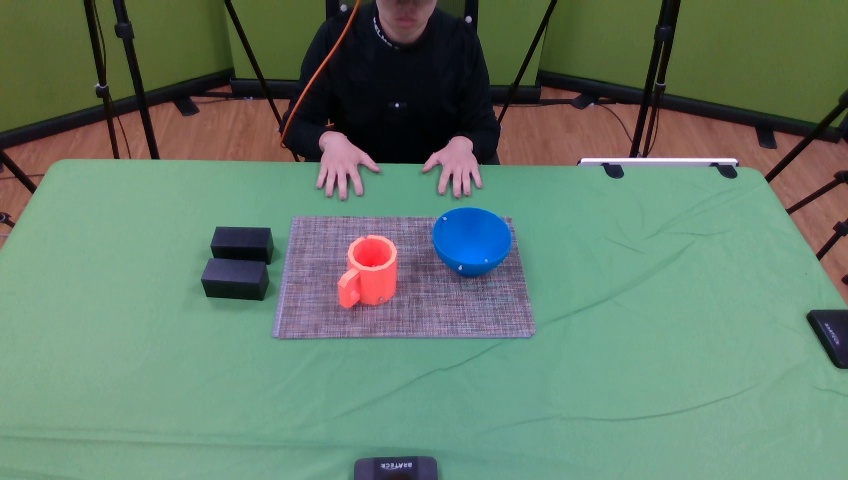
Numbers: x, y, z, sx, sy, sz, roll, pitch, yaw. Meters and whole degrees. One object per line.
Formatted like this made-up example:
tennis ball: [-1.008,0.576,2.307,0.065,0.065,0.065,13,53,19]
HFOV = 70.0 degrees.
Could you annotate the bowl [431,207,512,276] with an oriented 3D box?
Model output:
bowl: [0.086,0.016,1.147,0.151,0.077,0.150,2,46,-2]

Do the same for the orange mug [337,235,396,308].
orange mug: [-0.104,0.063,1.073,0.083,0.101,0.126,32,48,24]
